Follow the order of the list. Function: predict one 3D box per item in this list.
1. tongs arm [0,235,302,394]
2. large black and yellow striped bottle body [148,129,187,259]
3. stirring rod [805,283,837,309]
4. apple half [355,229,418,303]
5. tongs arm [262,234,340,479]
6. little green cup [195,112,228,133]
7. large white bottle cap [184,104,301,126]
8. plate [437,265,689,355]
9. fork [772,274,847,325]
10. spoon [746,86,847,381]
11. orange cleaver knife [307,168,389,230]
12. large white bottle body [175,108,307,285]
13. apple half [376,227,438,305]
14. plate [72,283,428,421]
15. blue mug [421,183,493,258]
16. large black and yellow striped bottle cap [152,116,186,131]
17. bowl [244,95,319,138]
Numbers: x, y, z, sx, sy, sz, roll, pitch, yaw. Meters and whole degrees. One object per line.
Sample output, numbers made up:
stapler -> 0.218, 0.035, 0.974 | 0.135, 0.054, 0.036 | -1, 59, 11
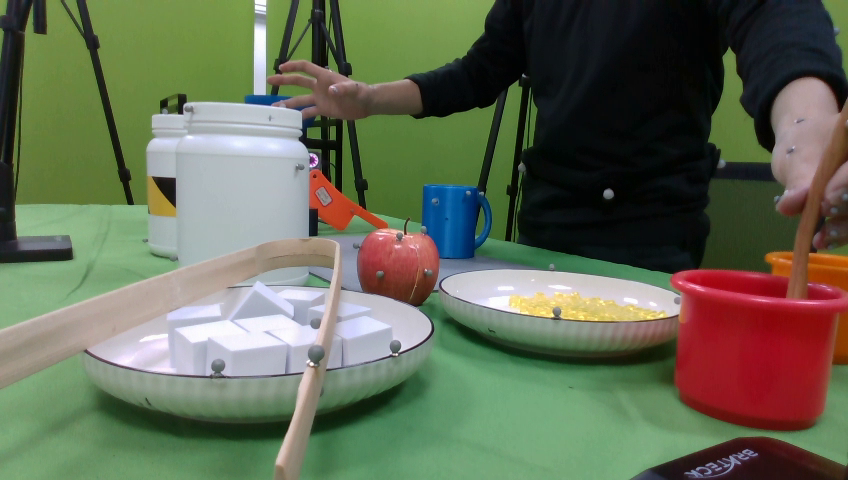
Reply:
tongs arm -> -0.157, 0.038, 0.351 | 0.028, 0.028, 0.388 | -3, 9, 12
large black and yellow striped bottle body -> -0.310, -0.073, 0.838 | 0.131, 0.184, 0.130 | 2, 8, 0
stirring rod -> 0.345, 0.019, 0.461 | 0.014, 0.006, 0.176 | -14, -27, -30
apple half -> -0.044, 0.027, 0.564 | 0.081, 0.081, 0.033 | 9, 5, 42
tongs arm -> -0.074, 0.039, 0.349 | 0.051, 0.026, 0.384 | -2, 10, -3
little green cup -> -0.412, -0.227, 1.171 | 0.061, 0.038, 0.061 | 3, 8, 0
large white bottle cap -> -0.184, -0.126, 0.618 | 0.115, 0.018, 0.115 | 2, 8, 0
plate -> 0.114, 0.057, 0.518 | 0.209, 0.038, 0.209 | 3, 7, 0
fork -> 0.332, 0.018, 0.442 | 0.028, 0.018, 0.207 | 1, -36, -14
spoon -> 0.223, -0.003, 0.353 | 0.042, 0.193, 0.021 | -4, 16, -38
orange cleaver knife -> -0.158, -0.060, 1.166 | 0.212, 0.077, 0.012 | 34, -12, -32
large white bottle body -> -0.188, -0.042, 0.630 | 0.131, 0.184, 0.130 | 2, 8, 0
apple half -> -0.017, 0.026, 0.593 | 0.080, 0.074, 0.053 | 4, 2, 43
plate -> -0.102, 0.066, 0.381 | 0.208, 0.039, 0.207 | 2, 7, 0
blue mug -> 0.052, -0.032, 0.912 | 0.117, 0.106, 0.082 | -1, 8, -24
large black and yellow striped bottle cap -> -0.309, -0.156, 0.826 | 0.115, 0.019, 0.115 | 3, 6, 0
bowl -> -0.293, -0.251, 1.249 | 0.151, 0.077, 0.151 | 2, 7, 0
